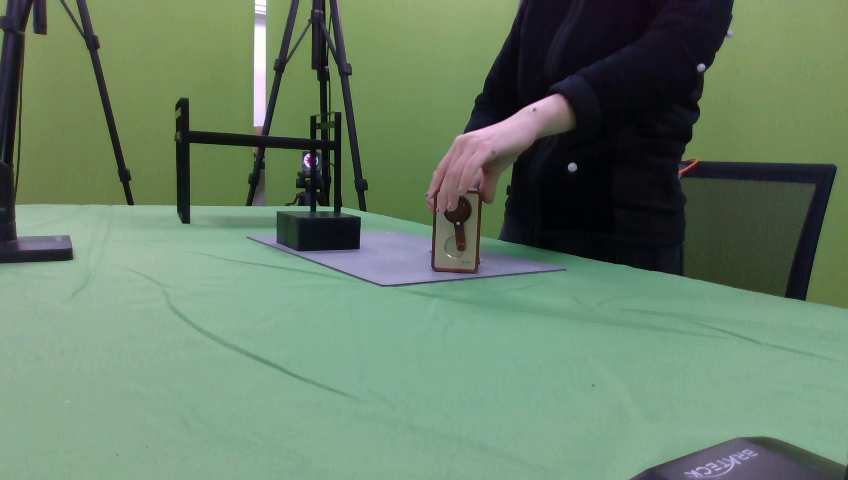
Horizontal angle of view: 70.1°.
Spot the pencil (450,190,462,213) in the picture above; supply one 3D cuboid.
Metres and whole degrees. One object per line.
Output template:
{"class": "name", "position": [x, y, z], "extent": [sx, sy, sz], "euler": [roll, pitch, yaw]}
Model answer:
{"class": "pencil", "position": [0.046, -0.055, 0.870], "extent": [0.012, 0.012, 0.194], "euler": [3, 12, 5]}

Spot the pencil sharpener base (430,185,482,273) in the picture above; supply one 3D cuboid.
{"class": "pencil sharpener base", "position": [0.041, -0.016, 0.783], "extent": [0.061, 0.107, 0.077], "euler": [3, 8, 4]}

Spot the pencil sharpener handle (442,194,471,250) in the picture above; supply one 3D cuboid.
{"class": "pencil sharpener handle", "position": [0.041, -0.022, 0.731], "extent": [0.036, 0.067, 0.030], "euler": [-11, 7, 6]}
